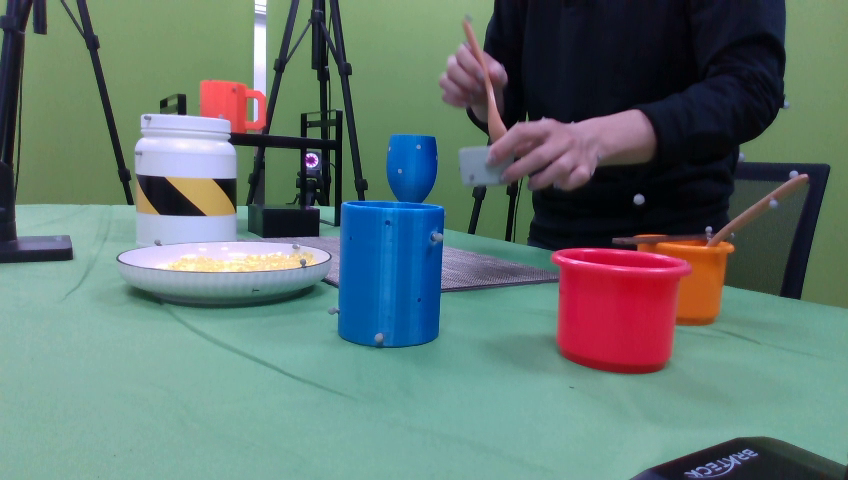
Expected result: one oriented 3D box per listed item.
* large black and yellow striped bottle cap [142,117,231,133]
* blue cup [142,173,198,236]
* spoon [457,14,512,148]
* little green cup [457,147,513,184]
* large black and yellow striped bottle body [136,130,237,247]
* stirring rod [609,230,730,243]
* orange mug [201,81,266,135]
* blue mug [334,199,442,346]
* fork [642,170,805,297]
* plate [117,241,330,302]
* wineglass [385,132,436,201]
[{"bbox_3d":[-0.328,-0.159,0.839,0.115,0.019,0.115,1,9,0],"label":"large black and yellow striped bottle cap"},{"bbox_3d":[-0.425,-0.060,1.014,0.093,0.100,0.092,4,9,0],"label":"blue cup"},{"bbox_3d":[0.075,-0.199,0.767,0.022,0.193,0.041,-12,-10,-12],"label":"spoon"},{"bbox_3d":[0.066,-0.080,0.651,0.061,0.038,0.061,1,4,0],"label":"little green cup"},{"bbox_3d":[-0.332,-0.076,0.851,0.131,0.184,0.130,3,8,0],"label":"large black and yellow striped bottle body"},{"bbox_3d":[0.241,-0.004,0.582,0.177,0.006,0.014,-4,10,-33],"label":"stirring rod"},{"bbox_3d":[-0.377,-0.259,1.197,0.126,0.101,0.083,-2,7,-6],"label":"orange mug"},{"bbox_3d":[-0.034,0.020,0.498,0.083,0.106,0.116,0,7,-20],"label":"blue mug"},{"bbox_3d":[0.261,0.003,0.545,0.028,0.018,0.207,5,-37,-15],"label":"fork"},{"bbox_3d":[-0.203,0.031,0.630,0.209,0.038,0.209,3,7,0],"label":"plate"},{"bbox_3d":[-0.020,-0.061,0.838,0.074,0.172,0.073,2,7,0],"label":"wineglass"}]
